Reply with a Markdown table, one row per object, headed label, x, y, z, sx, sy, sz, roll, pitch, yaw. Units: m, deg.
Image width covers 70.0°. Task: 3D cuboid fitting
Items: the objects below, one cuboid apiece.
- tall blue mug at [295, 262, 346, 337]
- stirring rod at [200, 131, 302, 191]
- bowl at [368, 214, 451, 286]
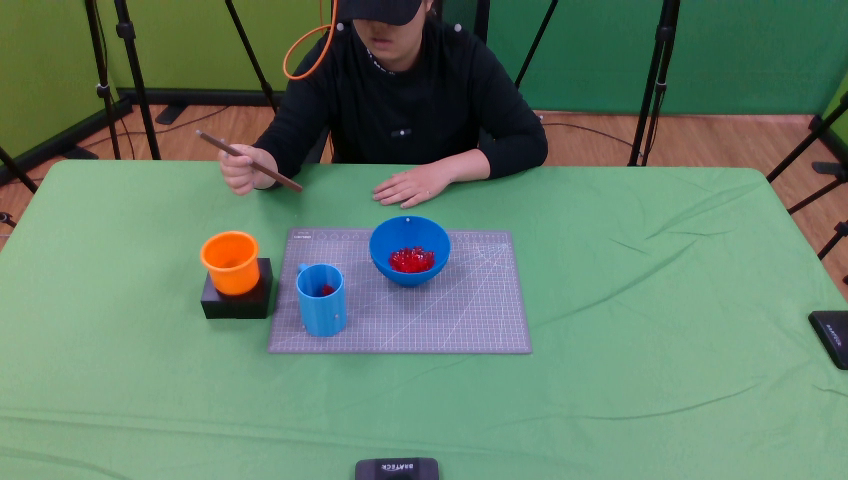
| label | x | y | z | sx | sy | sz | roll | pitch | yaw |
| --- | --- | --- | --- | --- | --- | --- | --- | --- | --- |
| tall blue mug | -0.187 | 0.096 | 1.027 | 0.107 | 0.108 | 0.077 | 21 | 49 | 16 |
| stirring rod | -0.269 | -0.122 | 0.955 | 0.177 | 0.014 | 0.006 | 30 | 41 | -29 |
| bowl | -0.027 | 0.031 | 1.122 | 0.151 | 0.077 | 0.150 | 2 | 46 | -2 |
